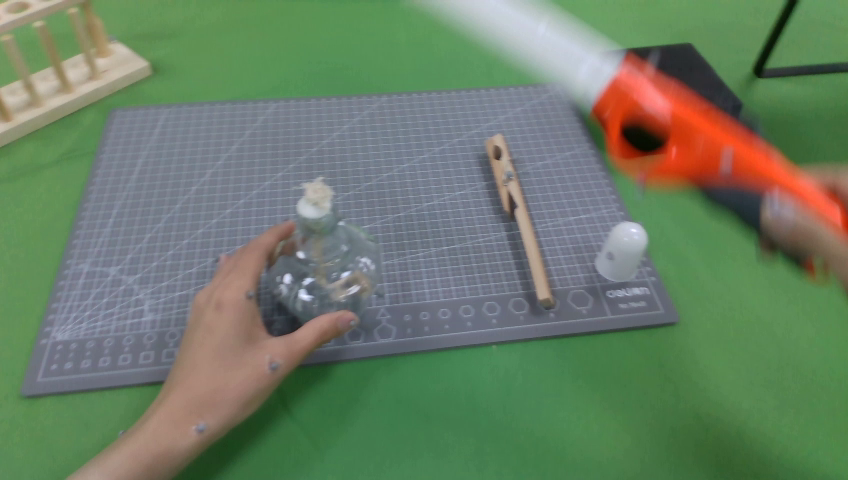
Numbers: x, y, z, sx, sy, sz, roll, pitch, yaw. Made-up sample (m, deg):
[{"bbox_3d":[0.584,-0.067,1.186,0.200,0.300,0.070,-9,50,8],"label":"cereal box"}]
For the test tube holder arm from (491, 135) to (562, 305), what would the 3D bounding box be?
[{"bbox_3d":[0.080,-0.023,0.494,0.013,0.015,0.176,-30,48,19],"label":"test tube holder arm"}]

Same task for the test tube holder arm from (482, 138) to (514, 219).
[{"bbox_3d":[0.067,-0.054,0.524,0.010,0.015,0.087,-30,49,20],"label":"test tube holder arm"}]

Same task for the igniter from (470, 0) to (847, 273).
[{"bbox_3d":[0.109,-0.084,0.326,0.275,0.057,0.025,41,19,11],"label":"igniter"}]

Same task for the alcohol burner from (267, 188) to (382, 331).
[{"bbox_3d":[-0.067,0.008,0.400,0.078,0.120,0.077,1,51,0],"label":"alcohol burner"}]

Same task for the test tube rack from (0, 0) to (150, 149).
[{"bbox_3d":[-0.381,-0.143,0.538,0.066,0.086,0.242,34,56,24],"label":"test tube rack"}]

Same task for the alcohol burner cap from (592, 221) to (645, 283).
[{"bbox_3d":[0.148,0.006,0.457,0.034,0.048,0.033,2,47,-1],"label":"alcohol burner cap"}]
